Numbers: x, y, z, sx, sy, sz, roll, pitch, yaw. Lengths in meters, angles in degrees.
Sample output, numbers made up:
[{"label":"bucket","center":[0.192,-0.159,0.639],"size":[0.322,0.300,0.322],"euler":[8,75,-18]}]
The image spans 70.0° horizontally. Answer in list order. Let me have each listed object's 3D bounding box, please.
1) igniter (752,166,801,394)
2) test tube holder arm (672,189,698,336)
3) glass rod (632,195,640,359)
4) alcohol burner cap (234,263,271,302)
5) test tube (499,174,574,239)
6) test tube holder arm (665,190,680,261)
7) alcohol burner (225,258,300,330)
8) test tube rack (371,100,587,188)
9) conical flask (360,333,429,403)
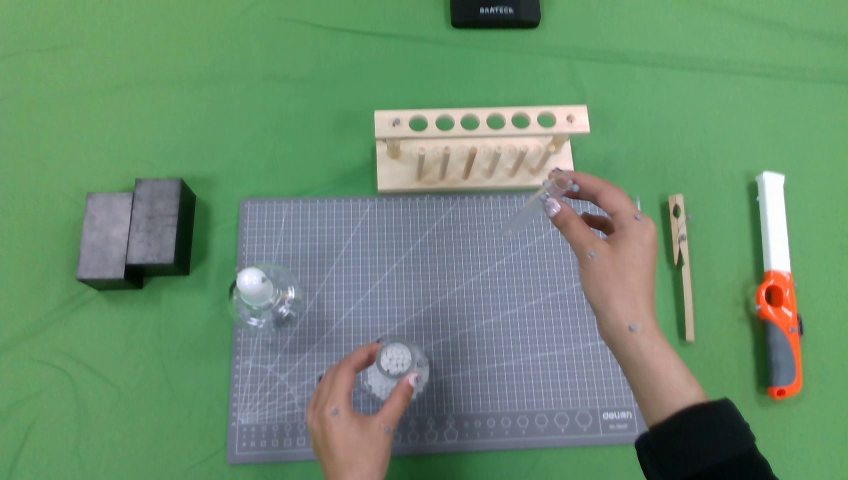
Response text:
[{"label":"igniter","center":[0.413,0.042,0.715],"size":[0.057,0.025,0.275],"euler":[9,73,-11]},{"label":"test tube holder arm","center":[0.308,0.025,0.718],"size":[0.013,0.015,0.177],"euler":[-13,69,32]},{"label":"glass rod","center":[0.251,0.040,0.716],"size":[0.008,0.008,0.198],"euler":[5,75,-2]},{"label":"alcohol burner cap","center":[-0.171,0.039,0.598],"size":[0.034,0.048,0.033],"euler":[3,68,-6]},{"label":"test tube","center":[0.096,-0.026,0.542],"size":[0.017,0.150,0.017],"euler":[3,74,-11]},{"label":"test tube holder arm","center":[0.302,-0.017,0.734],"size":[0.010,0.015,0.087],"euler":[-11,70,32]},{"label":"alcohol burner","center":[-0.172,0.052,0.632],"size":[0.078,0.120,0.077],"euler":[0,72,0]},{"label":"test tube rack","center":[0.061,-0.111,0.713],"size":[0.242,0.085,0.066],"euler":[-2,73,-4]},{"label":"conical flask","center":[-0.030,0.124,0.613],"size":[0.075,0.122,0.075],"euler":[1,72,-3]}]
